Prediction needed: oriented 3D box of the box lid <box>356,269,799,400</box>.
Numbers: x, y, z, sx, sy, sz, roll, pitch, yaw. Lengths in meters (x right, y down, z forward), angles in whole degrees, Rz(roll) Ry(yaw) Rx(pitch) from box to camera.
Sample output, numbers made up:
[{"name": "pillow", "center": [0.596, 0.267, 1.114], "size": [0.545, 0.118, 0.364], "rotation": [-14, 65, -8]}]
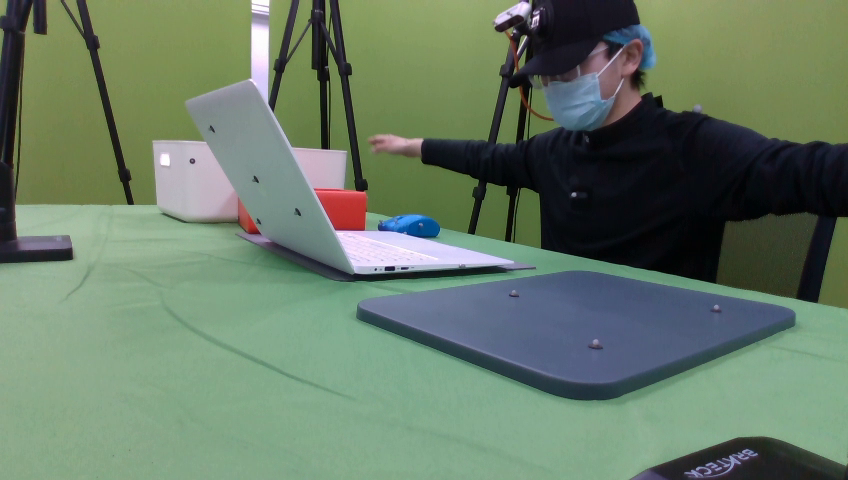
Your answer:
[{"name": "box lid", "center": [0.152, 0.068, 0.564], "size": [0.374, 0.015, 0.262], "rotation": [-4, 10, -41]}]

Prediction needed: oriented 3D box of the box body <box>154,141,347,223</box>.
[{"name": "box body", "center": [-0.384, -0.131, 1.346], "size": [0.366, 0.160, 0.253], "rotation": [-3, 9, -36]}]

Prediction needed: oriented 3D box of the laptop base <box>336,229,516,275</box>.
[{"name": "laptop base", "center": [-0.065, 0.014, 0.877], "size": [0.237, 0.023, 0.352], "rotation": [2, 7, -32]}]

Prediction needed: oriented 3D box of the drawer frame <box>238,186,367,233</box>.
[{"name": "drawer frame", "center": [-0.237, -0.063, 1.157], "size": [0.214, 0.082, 0.201], "rotation": [-1, 8, -23]}]

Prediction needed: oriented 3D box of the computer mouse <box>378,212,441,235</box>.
[{"name": "computer mouse", "center": [-0.027, -0.030, 1.141], "size": [0.118, 0.041, 0.062], "rotation": [-4, 12, -34]}]

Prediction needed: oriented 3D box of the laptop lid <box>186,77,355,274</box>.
[{"name": "laptop lid", "center": [-0.211, -0.081, 0.772], "size": [0.013, 0.242, 0.355], "rotation": [-35, 25, -23]}]

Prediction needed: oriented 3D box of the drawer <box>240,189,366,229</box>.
[{"name": "drawer", "center": [-0.235, -0.062, 1.158], "size": [0.213, 0.073, 0.193], "rotation": [-1, 7, -22]}]
